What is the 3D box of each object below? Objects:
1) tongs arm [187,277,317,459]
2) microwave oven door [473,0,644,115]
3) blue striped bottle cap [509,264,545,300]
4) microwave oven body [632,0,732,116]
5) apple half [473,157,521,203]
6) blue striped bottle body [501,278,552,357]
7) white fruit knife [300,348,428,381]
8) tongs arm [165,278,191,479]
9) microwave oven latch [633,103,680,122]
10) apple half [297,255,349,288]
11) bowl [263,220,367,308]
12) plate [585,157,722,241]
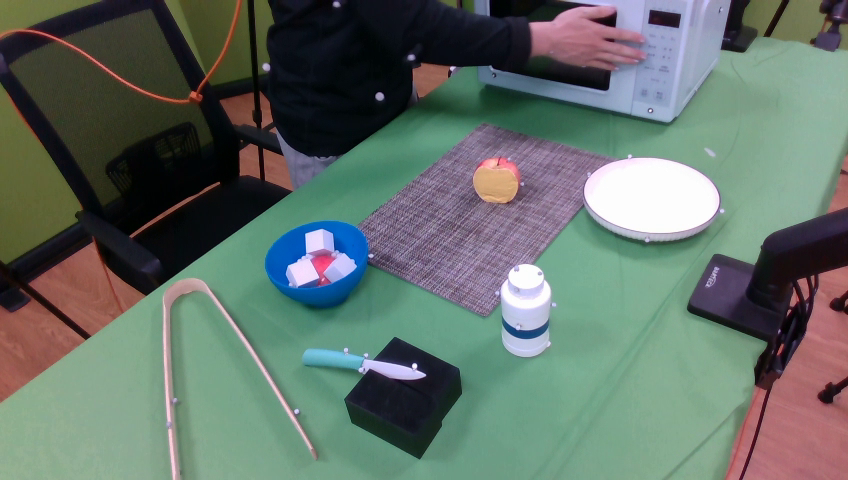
[{"bbox_3d":[-0.240,0.154,0.815,0.028,0.028,0.384,-31,46,-21],"label":"tongs arm"},{"bbox_3d":[0.257,-0.396,1.199,0.353,0.245,0.039,21,48,29],"label":"microwave oven door"},{"bbox_3d":[0.125,0.051,0.735,0.044,0.021,0.044,-6,38,5],"label":"blue striped bottle cap"},{"bbox_3d":[0.377,-0.463,1.267,0.438,0.261,0.327,21,49,30],"label":"microwave oven body"},{"bbox_3d":[0.127,-0.106,1.030,0.080,0.075,0.053,4,36,19],"label":"apple half"},{"bbox_3d":[0.129,0.089,0.769,0.063,0.121,0.063,-4,40,4],"label":"blue striped bottle body"},{"bbox_3d":[-0.079,0.154,0.748,0.206,0.027,0.016,1,20,34],"label":"white fruit knife"},{"bbox_3d":[-0.313,0.182,0.789,0.051,0.026,0.381,-19,41,-14],"label":"tongs arm"},{"bbox_3d":[0.444,-0.249,1.158,0.078,0.029,0.030,21,49,30],"label":"microwave oven latch"},{"bbox_3d":[-0.153,0.044,0.889,0.081,0.033,0.081,-3,40,3],"label":"apple half"},{"bbox_3d":[-0.152,0.047,0.892,0.151,0.077,0.150,-4,40,4],"label":"bowl"},{"bbox_3d":[0.367,-0.063,0.979,0.207,0.039,0.206,-4,40,4],"label":"plate"}]
